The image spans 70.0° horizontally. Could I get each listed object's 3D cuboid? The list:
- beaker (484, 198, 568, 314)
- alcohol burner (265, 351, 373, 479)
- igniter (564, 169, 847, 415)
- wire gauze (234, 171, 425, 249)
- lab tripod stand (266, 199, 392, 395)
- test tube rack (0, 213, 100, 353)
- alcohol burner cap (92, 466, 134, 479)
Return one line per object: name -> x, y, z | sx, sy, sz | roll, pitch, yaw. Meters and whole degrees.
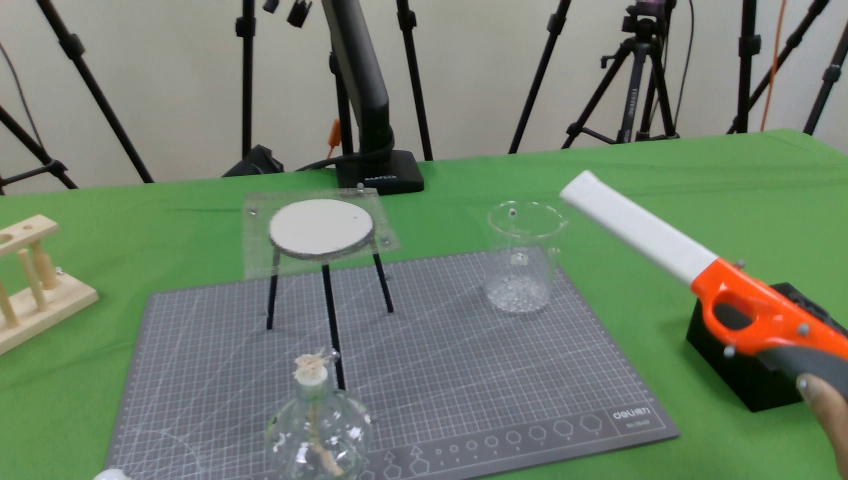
beaker -> 0.100, 0.018, 0.617 | 0.084, 0.101, 0.073 | -2, 33, -5
alcohol burner -> -0.076, 0.125, 0.435 | 0.078, 0.120, 0.077 | 2, 32, -1
igniter -> 0.202, 0.030, 0.418 | 0.057, 0.025, 0.273 | -40, 52, -6
wire gauze -> -0.080, -0.026, 0.497 | 0.125, 0.011, 0.120 | -13, 31, -32
lab tripod stand -> -0.085, 0.043, 0.545 | 0.148, 0.132, 0.147 | 2, 34, -1
test tube rack -> -0.437, 0.070, 0.549 | 0.066, 0.086, 0.242 | 20, 37, 27
alcohol burner cap -> -0.214, 0.177, 0.420 | 0.034, 0.048, 0.033 | 1, 32, 0
